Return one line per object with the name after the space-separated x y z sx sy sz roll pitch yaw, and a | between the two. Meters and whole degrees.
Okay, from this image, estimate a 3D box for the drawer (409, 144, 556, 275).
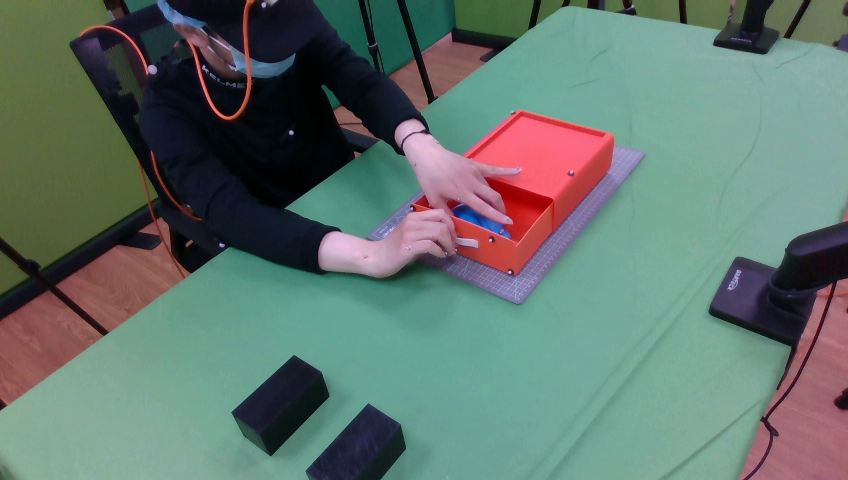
0.117 -0.060 0.972 0.193 0.073 0.212 22 49 31 | drawer

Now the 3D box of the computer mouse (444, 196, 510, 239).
0.084 -0.028 0.955 0.063 0.041 0.116 -19 51 -23 | computer mouse

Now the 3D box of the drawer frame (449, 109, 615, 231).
0.185 -0.126 1.037 0.200 0.083 0.214 22 48 31 | drawer frame
